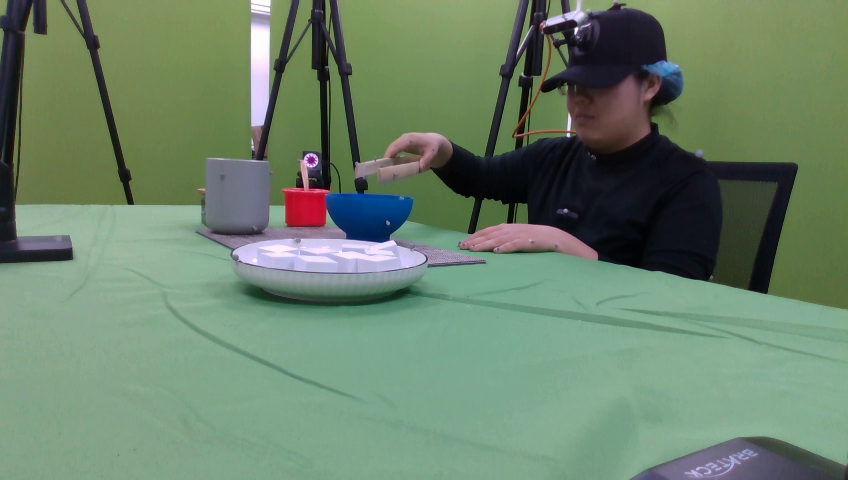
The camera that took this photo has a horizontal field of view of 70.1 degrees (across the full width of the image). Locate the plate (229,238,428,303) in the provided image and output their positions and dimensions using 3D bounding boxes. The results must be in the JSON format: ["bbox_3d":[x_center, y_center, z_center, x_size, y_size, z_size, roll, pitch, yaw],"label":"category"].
[{"bbox_3d":[-0.099,0.032,0.651,0.209,0.038,0.209,3,8,0],"label":"plate"}]

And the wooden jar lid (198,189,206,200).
[{"bbox_3d":[-0.382,-0.088,1.175,0.108,0.020,0.108,3,8,0],"label":"wooden jar lid"}]

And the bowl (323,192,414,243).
[{"bbox_3d":[-0.093,-0.037,1.015,0.151,0.077,0.151,2,7,0],"label":"bowl"}]

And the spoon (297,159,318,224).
[{"bbox_3d":[-0.244,-0.103,1.251,0.042,0.021,0.193,1,51,-17],"label":"spoon"}]

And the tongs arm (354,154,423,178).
[{"bbox_3d":[-0.059,-0.145,1.166,0.051,0.026,0.385,8,12,8],"label":"tongs arm"}]

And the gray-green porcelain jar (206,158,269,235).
[{"bbox_3d":[-0.322,-0.076,1.048,0.106,0.126,0.106,3,7,0],"label":"gray-green porcelain jar"}]

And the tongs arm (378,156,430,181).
[{"bbox_3d":[-0.032,-0.141,1.161,0.028,0.028,0.388,5,11,12],"label":"tongs arm"}]
